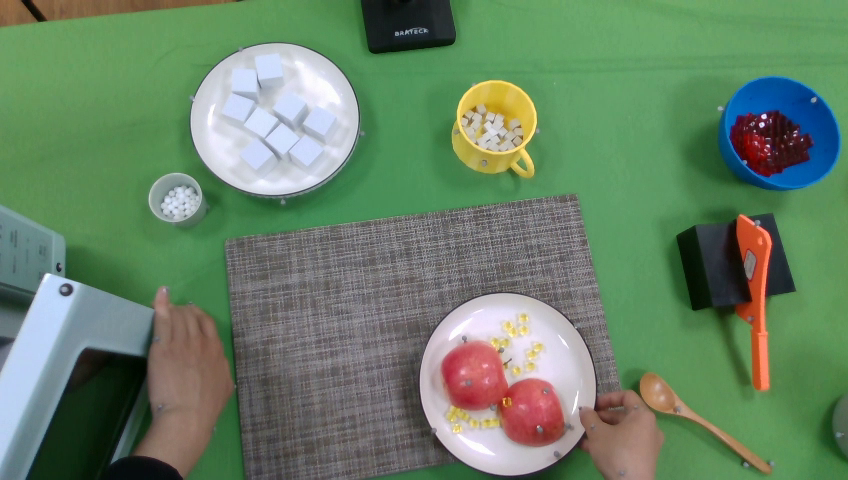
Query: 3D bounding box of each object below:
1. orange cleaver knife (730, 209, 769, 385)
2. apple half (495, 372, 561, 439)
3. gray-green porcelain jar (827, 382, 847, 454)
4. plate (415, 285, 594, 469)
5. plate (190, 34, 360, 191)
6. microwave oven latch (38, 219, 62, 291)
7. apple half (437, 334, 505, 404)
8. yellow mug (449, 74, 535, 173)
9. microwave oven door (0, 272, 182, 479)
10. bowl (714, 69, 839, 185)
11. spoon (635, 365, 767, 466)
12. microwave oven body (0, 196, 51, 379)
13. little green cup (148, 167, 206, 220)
[{"bbox_3d":[0.392,0.069,0.733,0.012,0.077,0.212,-7,101,-1],"label":"orange cleaver knife"},{"bbox_3d":[0.122,0.192,0.699,0.081,0.033,0.081,1,73,-2],"label":"apple half"},{"bbox_3d":[0.543,0.209,0.690,0.106,0.127,0.105,1,77,-4],"label":"gray-green porcelain jar"},{"bbox_3d":[0.092,0.158,0.711,0.209,0.038,0.208,1,78,-4],"label":"plate"},{"bbox_3d":[-0.185,-0.158,0.766,0.208,0.039,0.206,1,77,-4],"label":"plate"},{"bbox_3d":[-0.433,0.017,0.690,0.030,0.029,0.079,-2,78,-5],"label":"microwave oven latch"},{"bbox_3d":[0.054,0.148,0.695,0.075,0.053,0.080,-11,79,-4],"label":"apple half"},{"bbox_3d":[0.095,-0.138,0.767,0.100,0.064,0.130,-37,83,-11],"label":"yellow mug"},{"bbox_3d":[-0.340,0.215,0.548,0.039,0.244,0.354,17,76,1],"label":"microwave oven door"},{"bbox_3d":[0.438,-0.134,0.784,0.151,0.077,0.150,1,78,-3],"label":"bowl"},{"bbox_3d":[0.332,0.214,0.727,0.193,0.022,0.041,34,60,4],"label":"spoon"},{"bbox_3d":[-0.557,0.179,0.546,0.326,0.261,0.439,-5,78,-6],"label":"microwave oven body"},{"bbox_3d":[-0.296,-0.053,0.733,0.061,0.039,0.061,1,79,-3],"label":"little green cup"}]
